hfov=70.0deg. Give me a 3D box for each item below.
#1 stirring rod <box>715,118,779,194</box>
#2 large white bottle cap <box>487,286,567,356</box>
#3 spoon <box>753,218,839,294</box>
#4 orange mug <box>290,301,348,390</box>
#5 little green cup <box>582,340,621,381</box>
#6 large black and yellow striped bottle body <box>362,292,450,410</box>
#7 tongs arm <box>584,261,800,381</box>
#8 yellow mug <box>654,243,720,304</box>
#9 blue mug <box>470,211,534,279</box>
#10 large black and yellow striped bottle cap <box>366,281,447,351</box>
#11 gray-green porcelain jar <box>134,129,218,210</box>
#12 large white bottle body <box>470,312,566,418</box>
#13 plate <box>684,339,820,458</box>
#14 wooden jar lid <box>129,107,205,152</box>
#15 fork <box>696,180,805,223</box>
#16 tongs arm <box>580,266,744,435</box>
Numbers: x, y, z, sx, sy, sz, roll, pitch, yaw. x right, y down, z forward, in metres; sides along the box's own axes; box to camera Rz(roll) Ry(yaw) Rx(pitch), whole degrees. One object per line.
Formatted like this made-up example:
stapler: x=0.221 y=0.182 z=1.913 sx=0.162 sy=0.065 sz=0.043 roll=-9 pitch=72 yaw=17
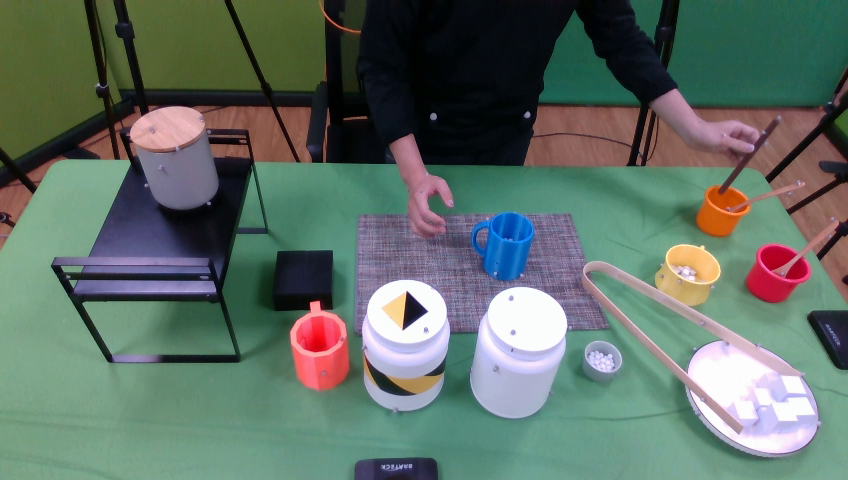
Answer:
stirring rod: x=0.638 y=-0.164 z=1.202 sx=0.006 sy=0.176 sz=0.014 roll=9 pitch=36 yaw=-29
large white bottle cap: x=0.147 y=0.115 z=0.869 sx=0.115 sy=0.018 sz=0.114 roll=3 pitch=46 yaw=-3
spoon: x=0.700 y=0.031 z=1.138 sx=0.194 sy=0.022 sz=0.041 roll=-47 pitch=55 yaw=14
orange mug: x=-0.170 y=0.162 z=0.976 sx=0.083 sy=0.101 sz=0.125 roll=-7 pitch=51 yaw=-11
little green cup: x=0.295 y=0.204 z=1.015 sx=0.061 sy=0.039 sz=0.061 roll=2 pitch=45 yaw=-2
large black and yellow striped bottle body: x=-0.029 y=0.163 z=0.928 sx=0.131 sy=0.185 sz=0.130 roll=2 pitch=47 yaw=-2
tongs arm: x=0.452 y=0.137 z=1.064 sx=0.051 sy=0.027 sz=0.382 roll=-34 pitch=50 yaw=-27
yellow mug: x=0.504 y=0.054 z=1.154 sx=0.099 sy=0.064 sz=0.130 roll=28 pitch=49 yaw=22
blue mug: x=0.141 y=0.005 z=1.140 sx=0.116 sy=0.106 sz=0.082 roll=18 pitch=48 yaw=13
large black and yellow striped bottle cap: x=-0.025 y=0.106 z=0.865 sx=0.115 sy=0.019 sz=0.114 roll=2 pitch=46 yaw=-1
gray-green porcelain jar: x=-0.388 y=-0.120 z=0.960 sx=0.106 sy=0.127 sz=0.105 roll=2 pitch=46 yaw=-2
large white bottle body: x=0.143 y=0.173 z=0.930 sx=0.131 sy=0.185 sz=0.130 roll=2 pitch=46 yaw=-2
plate: x=0.523 y=0.256 z=0.982 sx=0.208 sy=0.039 sz=0.206 roll=2 pitch=46 yaw=-2
wooden jar lid: x=-0.385 y=-0.163 z=0.915 sx=0.108 sy=0.021 sz=0.107 roll=2 pitch=47 yaw=-2
fork: x=0.659 y=-0.078 z=1.233 sx=0.207 sy=0.019 sz=0.028 roll=-26 pitch=37 yaw=33
tongs arm: x=0.384 y=0.173 z=1.028 sx=0.028 sy=0.028 sz=0.385 roll=-25 pitch=46 yaw=-15
